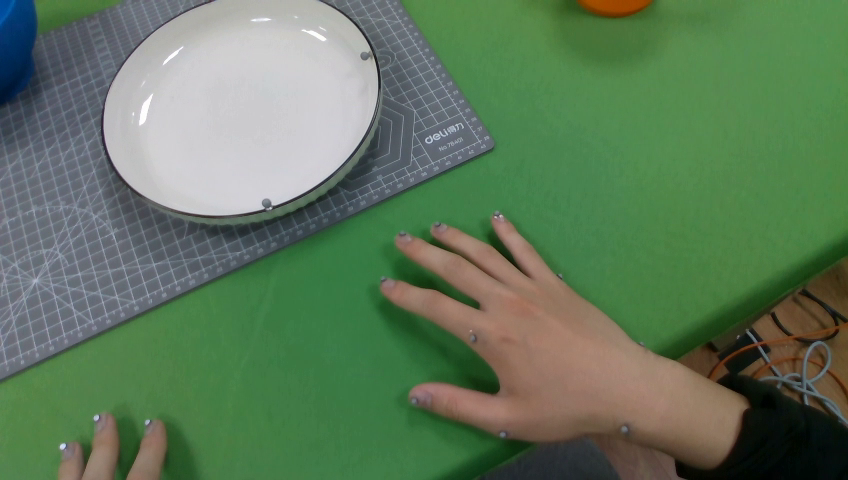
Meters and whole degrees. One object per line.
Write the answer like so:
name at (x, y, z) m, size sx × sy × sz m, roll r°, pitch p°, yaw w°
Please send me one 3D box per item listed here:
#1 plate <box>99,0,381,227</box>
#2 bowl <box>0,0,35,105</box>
plate at (-0.134, -0.099, 0.460) m, size 0.209 × 0.038 × 0.207 m, roll -1°, pitch 65°, yaw 3°
bowl at (-0.372, -0.155, 0.480) m, size 0.151 × 0.077 × 0.150 m, roll -2°, pitch 64°, yaw 4°
